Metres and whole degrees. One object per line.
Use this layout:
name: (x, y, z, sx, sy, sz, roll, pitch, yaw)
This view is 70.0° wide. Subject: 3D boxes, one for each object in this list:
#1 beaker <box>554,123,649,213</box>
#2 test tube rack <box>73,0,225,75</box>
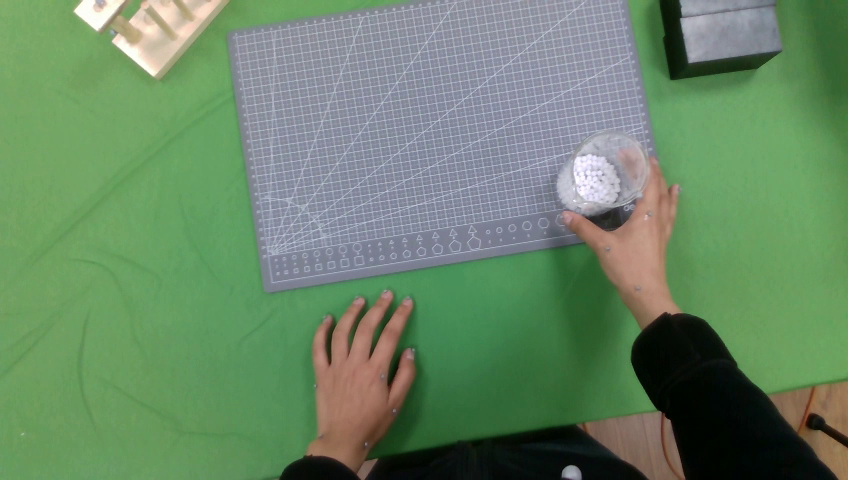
beaker: (0.173, -0.066, 0.618, 0.074, 0.100, 0.084, 43, 88, 5)
test tube rack: (-0.248, -0.301, 0.648, 0.066, 0.085, 0.242, 40, 87, 4)
